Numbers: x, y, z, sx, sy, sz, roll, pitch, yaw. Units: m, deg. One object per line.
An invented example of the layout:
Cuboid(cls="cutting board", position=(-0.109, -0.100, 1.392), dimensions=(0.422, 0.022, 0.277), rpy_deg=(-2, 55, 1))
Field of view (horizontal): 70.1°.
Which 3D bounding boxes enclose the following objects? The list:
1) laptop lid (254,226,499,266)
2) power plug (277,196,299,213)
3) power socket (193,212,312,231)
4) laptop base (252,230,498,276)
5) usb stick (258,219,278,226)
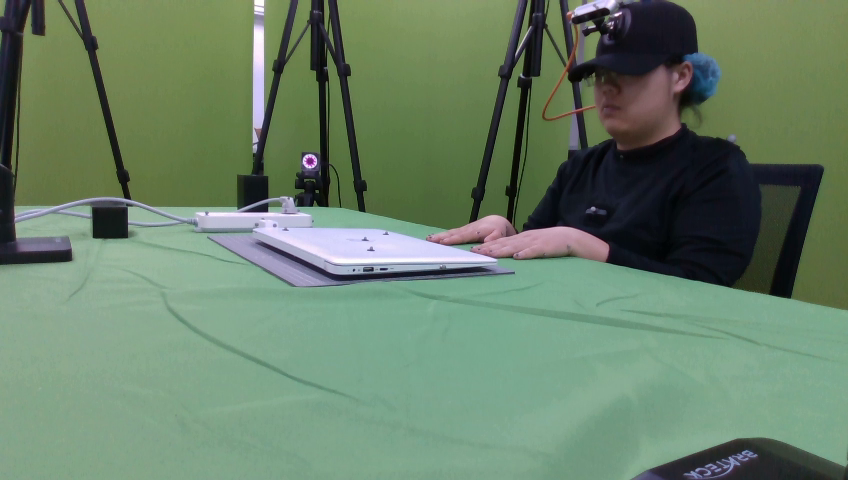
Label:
Cuboid(cls="laptop lid", position=(-0.086, 0.004, 0.876), dimensions=(0.243, 0.013, 0.355), rpy_deg=(1, 7, -30))
Cuboid(cls="power plug", position=(-0.274, -0.062, 1.217), dimensions=(0.035, 0.052, 0.072), rpy_deg=(0, 5, -22))
Cuboid(cls="power socket", position=(-0.322, -0.037, 1.153), dimensions=(0.228, 0.032, 0.072), rpy_deg=(-2, 7, -33))
Cuboid(cls="laptop base", position=(-0.089, 0.016, 0.876), dimensions=(0.237, 0.023, 0.352), rpy_deg=(2, 6, -32))
Cuboid(cls="usb stick", position=(-0.255, -0.019, 0.996), dimensions=(0.021, 0.027, 0.059), rpy_deg=(-2, 12, -29))
